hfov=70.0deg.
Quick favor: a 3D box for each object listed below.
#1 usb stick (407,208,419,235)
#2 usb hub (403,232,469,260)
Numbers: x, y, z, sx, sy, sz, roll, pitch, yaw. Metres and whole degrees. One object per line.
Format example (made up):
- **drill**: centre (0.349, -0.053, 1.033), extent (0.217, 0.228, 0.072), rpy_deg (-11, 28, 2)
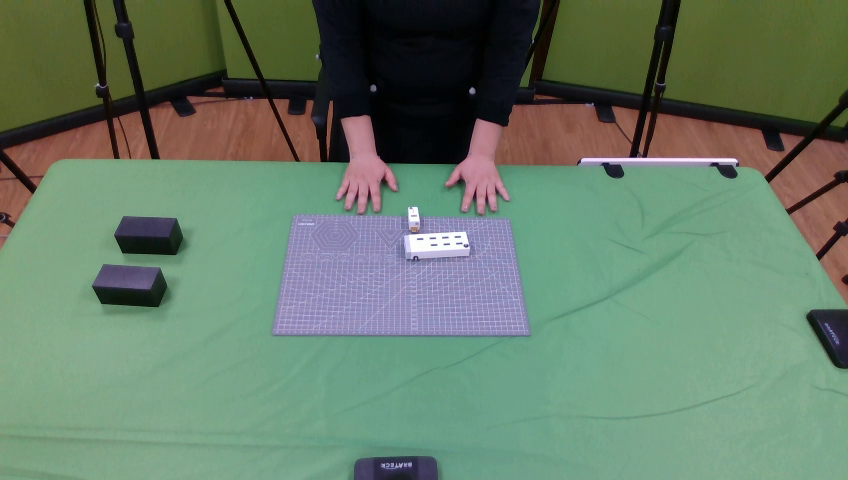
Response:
- **usb stick**: centre (-0.023, -0.037, 1.226), extent (0.021, 0.027, 0.059), rpy_deg (1, 48, -8)
- **usb hub**: centre (0.023, 0.012, 1.182), extent (0.125, 0.025, 0.049), rpy_deg (-3, 46, -7)
